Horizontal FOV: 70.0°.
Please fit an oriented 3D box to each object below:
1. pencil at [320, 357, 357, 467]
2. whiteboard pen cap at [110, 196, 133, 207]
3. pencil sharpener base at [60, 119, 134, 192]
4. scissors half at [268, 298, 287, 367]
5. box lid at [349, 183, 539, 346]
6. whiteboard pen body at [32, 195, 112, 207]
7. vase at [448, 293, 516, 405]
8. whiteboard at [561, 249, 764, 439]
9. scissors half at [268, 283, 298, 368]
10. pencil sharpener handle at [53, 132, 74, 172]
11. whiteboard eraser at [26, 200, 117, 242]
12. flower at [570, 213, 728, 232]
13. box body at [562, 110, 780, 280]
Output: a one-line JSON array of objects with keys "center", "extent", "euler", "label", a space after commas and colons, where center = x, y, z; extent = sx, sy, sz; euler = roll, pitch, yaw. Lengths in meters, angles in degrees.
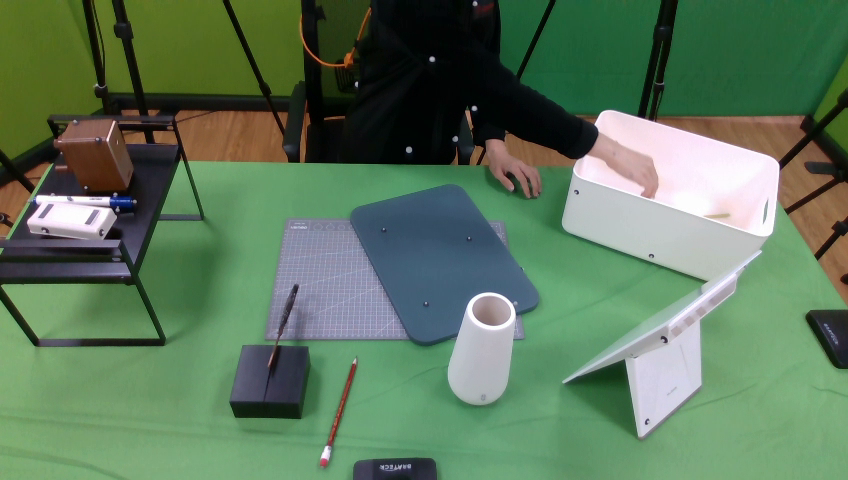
[{"center": [-0.130, 0.261, 0.947], "extent": [0.012, 0.012, 0.193], "euler": [10, 45, 5], "label": "pencil"}, {"center": [-0.485, -0.061, 0.972], "extent": [0.033, 0.018, 0.018], "euler": [0, 46, -9], "label": "whiteboard pen cap"}, {"center": [-0.528, -0.135, 0.979], "extent": [0.077, 0.107, 0.061], "euler": [-4, 47, -7], "label": "pencil sharpener base"}, {"center": [-0.239, 0.150, 0.997], "extent": [0.013, 0.040, 0.174], "euler": [24, 24, -14], "label": "scissors half"}, {"center": [0.030, 0.031, 1.176], "extent": [0.263, 0.015, 0.369], "euler": [-16, 49, -19], "label": "box lid"}, {"center": [-0.543, -0.061, 0.961], "extent": [0.141, 0.017, 0.017], "euler": [1, 46, -10], "label": "whiteboard pen body"}, {"center": [0.091, 0.169, 0.921], "extent": [0.098, 0.201, 0.097], "euler": [3, 47, -3], "label": "vase"}, {"center": [0.386, 0.176, 0.905], "extent": [0.217, 0.306, 0.143], "euler": [-26, 72, -26], "label": "whiteboard"}, {"center": [-0.230, 0.135, 0.986], "extent": [0.013, 0.040, 0.174], "euler": [19, 43, -11], "label": "scissors half"}, {"center": [-0.578, -0.138, 0.961], "extent": [0.031, 0.068, 0.036], "euler": [-4, 34, -7], "label": "pencil sharpener handle"}, {"center": [-0.532, -0.026, 0.919], "extent": [0.113, 0.042, 0.055], "euler": [7, 45, 3], "label": "whiteboard eraser"}, {"center": [0.479, -0.041, 1.269], "extent": [0.362, 0.038, 0.044], "euler": [-3, 17, -13], "label": "flower"}, {"center": [0.486, -0.088, 1.222], "extent": [0.363, 0.161, 0.253], "euler": [20, 48, 15], "label": "box body"}]
